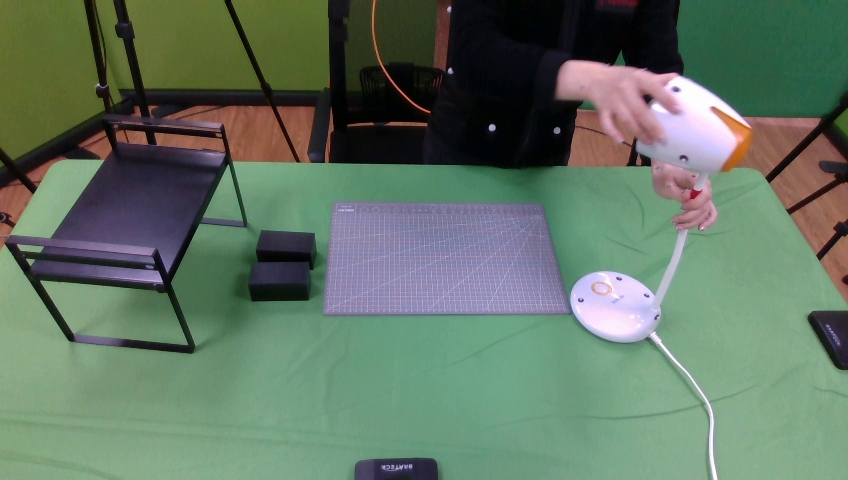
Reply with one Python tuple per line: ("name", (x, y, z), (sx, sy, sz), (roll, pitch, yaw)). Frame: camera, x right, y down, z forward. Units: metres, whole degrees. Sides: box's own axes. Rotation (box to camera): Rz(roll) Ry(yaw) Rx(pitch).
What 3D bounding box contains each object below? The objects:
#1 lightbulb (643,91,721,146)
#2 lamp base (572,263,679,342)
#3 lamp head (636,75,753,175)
("lightbulb", (0.342, -0.156, 0.801), (0.059, 0.060, 0.107), (-32, 54, -29))
("lamp base", (0.361, 0.071, 1.044), (0.178, 0.181, 0.160), (38, 55, 26))
("lamp head", (0.357, -0.137, 0.792), (0.122, 0.113, 0.112), (38, 55, 22))
